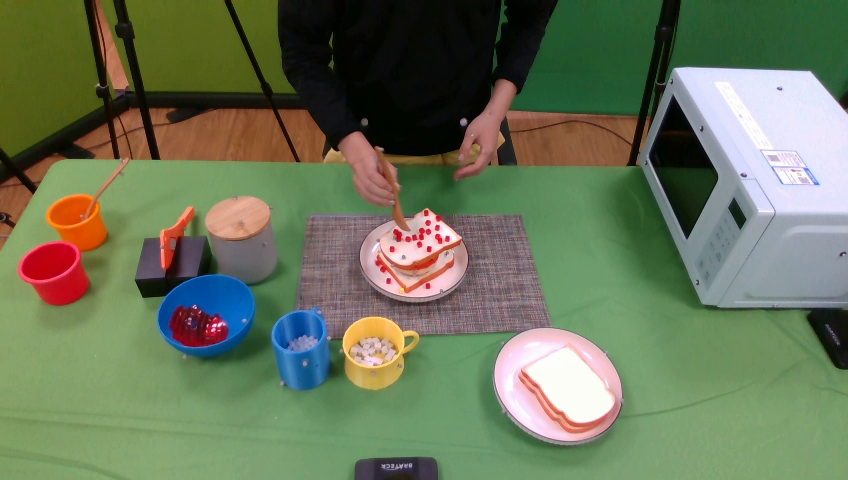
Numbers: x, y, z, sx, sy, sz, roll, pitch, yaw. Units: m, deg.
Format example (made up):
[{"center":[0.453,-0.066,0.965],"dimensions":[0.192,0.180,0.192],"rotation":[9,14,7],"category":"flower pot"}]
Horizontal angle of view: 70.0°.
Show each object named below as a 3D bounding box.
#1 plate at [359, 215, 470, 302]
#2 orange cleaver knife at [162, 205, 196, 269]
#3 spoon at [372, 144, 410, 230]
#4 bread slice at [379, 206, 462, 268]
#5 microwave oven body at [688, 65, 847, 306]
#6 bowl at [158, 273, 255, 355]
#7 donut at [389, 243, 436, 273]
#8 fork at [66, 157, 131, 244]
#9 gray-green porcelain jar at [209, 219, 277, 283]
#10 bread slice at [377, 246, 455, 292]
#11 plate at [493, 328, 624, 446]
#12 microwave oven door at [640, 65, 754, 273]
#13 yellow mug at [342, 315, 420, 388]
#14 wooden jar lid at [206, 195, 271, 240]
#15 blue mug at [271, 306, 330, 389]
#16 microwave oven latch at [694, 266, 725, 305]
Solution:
[{"center":[-0.019,0.038,1.140],"dimensions":[0.209,0.038,0.208],"rotation":[2,46,-2],"category":"plate"},{"center":[-0.454,-0.010,1.129],"dimensions":[0.012,0.077,0.210],"rotation":[-1,20,-5],"category":"orange cleaver knife"},{"center":[-0.056,-0.086,1.025],"dimensions":[0.021,0.195,0.041],"rotation":[-33,45,-19],"category":"spoon"},{"center":[-0.012,-0.001,1.098],"dimensions":[0.134,0.018,0.106],"rotation":[-33,51,-24],"category":"bread slice"},{"center":[0.669,-0.111,1.176],"dimensions":[0.326,0.261,0.439],"rotation":[0,46,-3],"category":"microwave oven body"},{"center":[-0.351,0.136,1.001],"dimensions":[0.151,0.077,0.150],"rotation":[2,46,-2],"category":"bowl"},{"center":[-0.023,0.018,1.120],"dimensions":[0.099,0.048,0.098],"rotation":[-10,48,11],"category":"donut"},{"center":[-0.608,-0.074,1.132],"dimensions":[0.207,0.019,0.028],"rotation":[-52,48,10],"category":"fork"},{"center":[-0.323,0.007,1.092],"dimensions":[0.106,0.127,0.105],"rotation":[2,46,-2],"category":"gray-green porcelain jar"},{"center":[-0.010,0.034,1.150],"dimensions":[0.131,0.019,0.104],"rotation":[-29,56,-23],"category":"bread slice"},{"center":[0.213,0.236,0.974],"dimensions":[0.208,0.039,0.206],"rotation":[2,46,-2],"category":"plate"},{"center":[0.523,-0.147,1.193],"dimensions":[0.039,0.245,0.353],"rotation":[0,47,-3],"category":"microwave oven door"},{"center":[-0.068,0.177,0.990],"dimensions":[0.131,0.064,0.099],"rotation":[-15,50,-19],"category":"yellow mug"},{"center":[-0.319,-0.036,1.046],"dimensions":[0.108,0.021,0.107],"rotation":[1,44,0],"category":"wooden jar lid"},{"center":[-0.188,0.163,0.969],"dimensions":[0.082,0.106,0.116],"rotation":[15,47,10],"category":"blue mug"},{"center":[0.523,0.082,1.115],"dimensions":[0.030,0.029,0.078],"rotation":[3,46,0],"category":"microwave oven latch"}]
